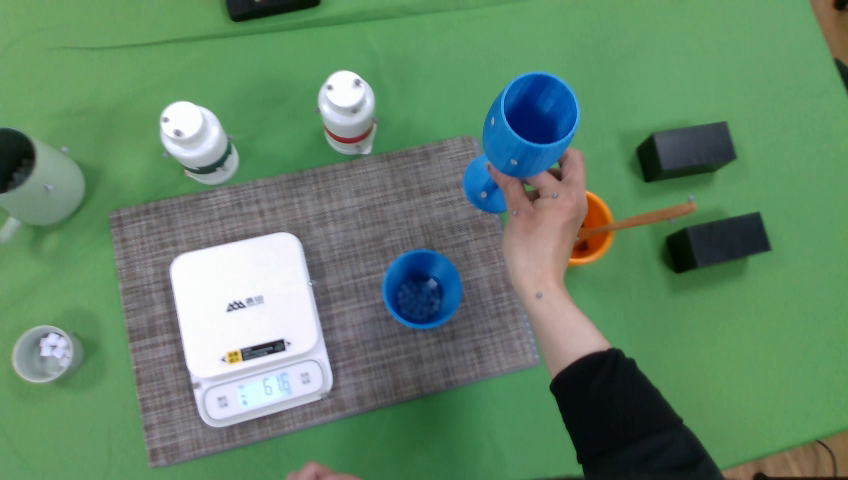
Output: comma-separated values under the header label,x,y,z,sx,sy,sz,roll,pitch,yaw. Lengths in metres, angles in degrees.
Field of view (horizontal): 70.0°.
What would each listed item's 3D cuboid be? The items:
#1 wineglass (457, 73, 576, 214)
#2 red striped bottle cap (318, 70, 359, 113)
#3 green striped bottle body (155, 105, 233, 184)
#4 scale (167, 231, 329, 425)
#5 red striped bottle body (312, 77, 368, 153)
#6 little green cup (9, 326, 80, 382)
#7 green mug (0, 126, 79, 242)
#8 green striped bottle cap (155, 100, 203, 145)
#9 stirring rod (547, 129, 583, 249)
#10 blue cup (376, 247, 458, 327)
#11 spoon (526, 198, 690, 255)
label,x,y,z,sx,sy,sz,roll,pitch,yaw
wineglass,0.075,-0.078,0.542,0.074,0.172,0.073,2,76,-6
red striped bottle cap,-0.093,-0.163,0.660,0.044,0.018,0.044,1,75,-4
green striped bottle body,-0.261,-0.110,0.688,0.063,0.119,0.063,1,77,-5
scale,-0.201,0.097,0.691,0.149,0.031,0.200,-14,80,-8
red striped bottle body,-0.097,-0.151,0.713,0.063,0.120,0.062,1,77,-5
little green cup,-0.413,0.126,0.665,0.061,0.039,0.061,1,78,-6
green mug,-0.454,-0.054,0.667,0.092,0.105,0.125,21,77,0
green striped bottle cap,-0.257,-0.123,0.634,0.044,0.020,0.044,1,78,-3
stirring rod,0.164,-0.053,0.700,0.014,0.178,0.006,-4,43,23
blue cup,-0.009,0.059,0.682,0.093,0.100,0.092,1,78,-4
spoon,0.206,-0.017,0.698,0.022,0.193,0.041,-8,84,-51
